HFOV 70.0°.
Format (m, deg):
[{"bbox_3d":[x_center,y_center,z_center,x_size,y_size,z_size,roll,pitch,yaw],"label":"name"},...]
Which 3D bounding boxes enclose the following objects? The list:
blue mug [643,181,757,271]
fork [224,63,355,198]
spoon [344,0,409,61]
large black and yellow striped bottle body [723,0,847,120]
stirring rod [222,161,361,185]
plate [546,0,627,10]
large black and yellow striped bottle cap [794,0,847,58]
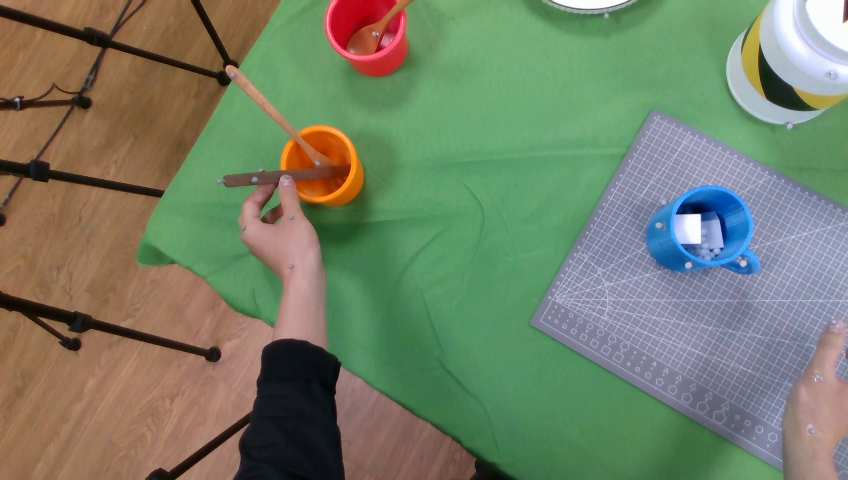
[{"bbox_3d":[0.308,-0.004,0.663,0.116,0.106,0.082,37,90,8],"label":"blue mug"},{"bbox_3d":[-0.153,-0.124,0.707,0.028,0.018,0.209,-42,125,1],"label":"fork"},{"bbox_3d":[-0.036,-0.268,0.710,0.193,0.022,0.041,-24,75,48],"label":"spoon"},{"bbox_3d":[0.410,-0.213,0.633,0.130,0.184,0.130,-1,84,7],"label":"large black and yellow striped bottle body"},{"bbox_3d":[-0.150,-0.079,0.707,0.177,0.006,0.014,-11,87,-38],"label":"stirring rod"},{"bbox_3d":[0.204,-0.379,0.746,0.207,0.039,0.207,-1,85,7],"label":"plate"},{"bbox_3d":[0.400,-0.223,0.550,0.115,0.019,0.115,0,86,6],"label":"large black and yellow striped bottle cap"}]
